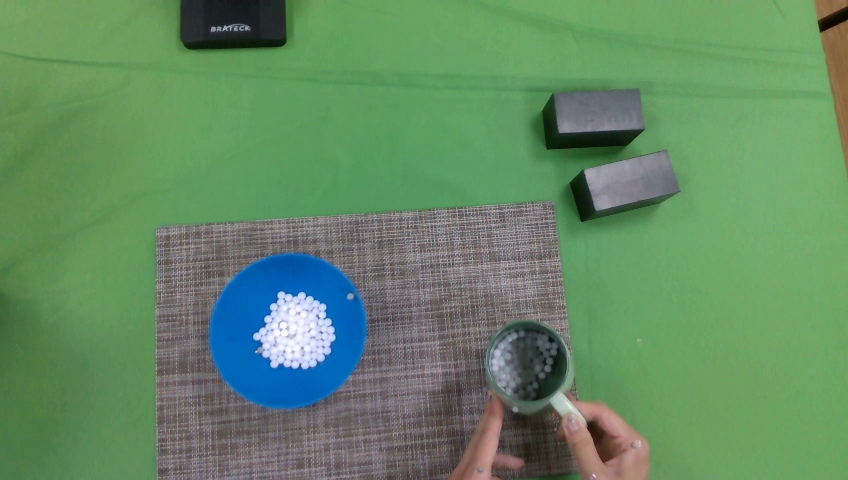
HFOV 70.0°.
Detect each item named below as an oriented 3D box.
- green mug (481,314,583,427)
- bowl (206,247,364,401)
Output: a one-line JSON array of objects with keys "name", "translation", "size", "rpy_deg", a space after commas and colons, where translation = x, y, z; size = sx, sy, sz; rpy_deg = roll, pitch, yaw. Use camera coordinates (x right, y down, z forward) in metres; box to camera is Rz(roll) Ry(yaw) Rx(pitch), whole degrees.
[{"name": "green mug", "translation": [0.113, 0.134, 0.609], "size": [0.092, 0.106, 0.124], "rpy_deg": [-40, 71, -3]}, {"name": "bowl", "translation": [-0.136, 0.087, 0.623], "size": [0.151, 0.077, 0.150], "rpy_deg": [1, 79, -4]}]
